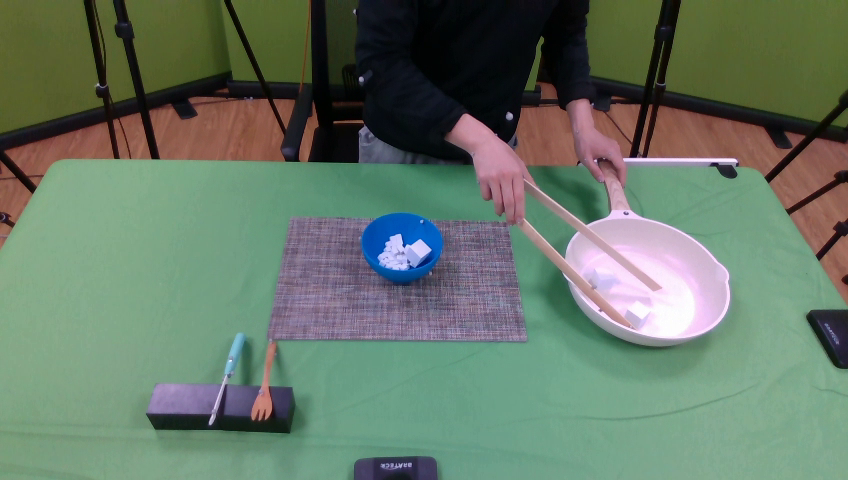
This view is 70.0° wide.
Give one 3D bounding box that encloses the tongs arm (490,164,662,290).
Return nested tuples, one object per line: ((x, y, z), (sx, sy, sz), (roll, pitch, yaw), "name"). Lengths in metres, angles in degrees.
((0.276, -0.022, 1.097), (0.388, 0.028, 0.028), (36, 63, -7), "tongs arm")

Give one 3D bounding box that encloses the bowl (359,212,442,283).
((-0.044, 0.026, 1.125), (0.151, 0.077, 0.150), (2, 46, -2), "bowl")

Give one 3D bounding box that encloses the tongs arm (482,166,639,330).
((0.242, 0.021, 1.063), (0.385, 0.026, 0.050), (43, 59, -3), "tongs arm")

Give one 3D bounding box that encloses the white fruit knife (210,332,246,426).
((-0.301, 0.206, 0.930), (0.016, 0.027, 0.206), (5, 29, -7), "white fruit knife")

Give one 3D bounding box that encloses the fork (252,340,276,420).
((-0.242, 0.211, 0.932), (0.028, 0.019, 0.206), (-5, 26, -7), "fork")

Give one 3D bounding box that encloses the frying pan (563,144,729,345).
((0.397, -0.008, 1.179), (0.307, 0.103, 0.484), (1, 55, -4), "frying pan")
